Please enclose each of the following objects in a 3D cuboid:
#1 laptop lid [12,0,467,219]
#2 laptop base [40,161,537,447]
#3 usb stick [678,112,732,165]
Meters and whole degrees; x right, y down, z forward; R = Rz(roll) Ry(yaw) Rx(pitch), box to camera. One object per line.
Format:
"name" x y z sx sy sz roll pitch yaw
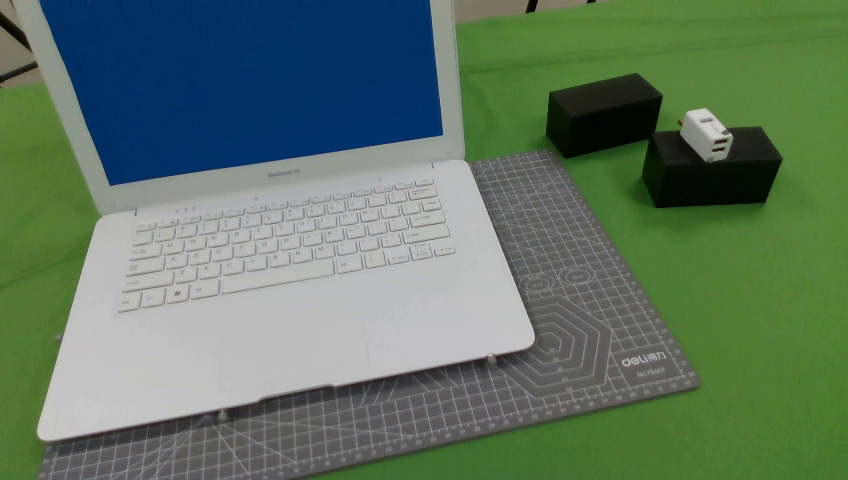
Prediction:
"laptop lid" -0.142 -0.146 0.534 0.357 0.243 0.013 -11 29 -5
"laptop base" -0.108 0.035 0.508 0.355 0.023 0.233 -10 47 -6
"usb stick" 0.244 -0.093 0.534 0.021 0.027 0.058 -12 41 -4
